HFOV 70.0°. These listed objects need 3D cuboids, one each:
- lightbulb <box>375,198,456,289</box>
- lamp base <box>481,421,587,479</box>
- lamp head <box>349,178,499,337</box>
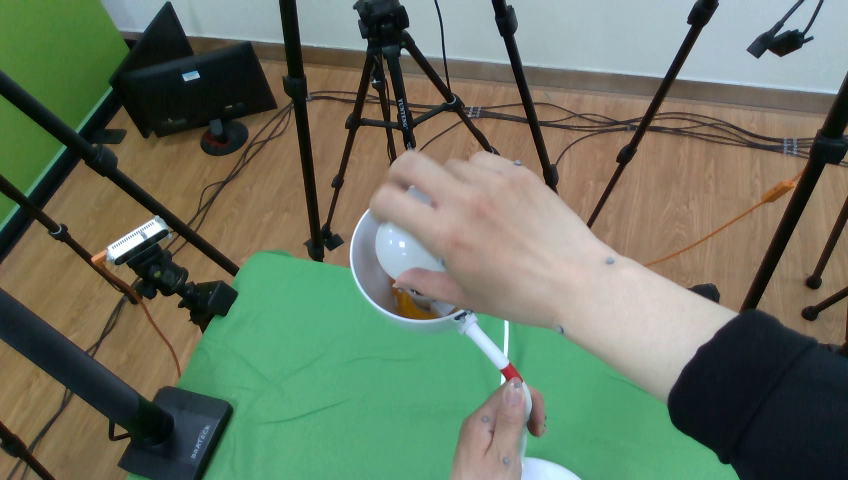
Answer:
[{"bbox_3d":[-0.003,0.010,0.465,0.059,0.108,0.059,-3,64,6],"label":"lightbulb"},{"bbox_3d":[0.116,0.276,0.646,0.161,0.182,0.177,-23,53,-9],"label":"lamp base"},{"bbox_3d":[0.006,0.028,0.493,0.112,0.124,0.111,-3,63,6],"label":"lamp head"}]
